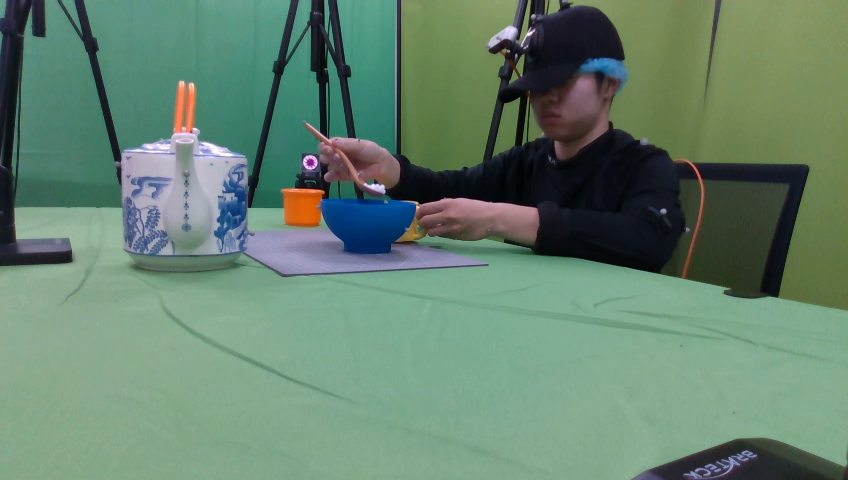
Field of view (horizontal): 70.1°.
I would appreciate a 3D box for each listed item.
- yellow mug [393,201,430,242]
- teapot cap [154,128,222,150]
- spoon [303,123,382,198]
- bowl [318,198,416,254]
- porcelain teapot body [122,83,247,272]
[{"bbox_3d":[-0.046,-0.034,1.073,0.130,0.064,0.100,5,10,29],"label":"yellow mug"},{"bbox_3d":[-0.294,-0.117,0.754,0.085,0.044,0.085,4,9,0],"label":"teapot cap"},{"bbox_3d":[-0.138,-0.133,1.002,0.193,0.021,0.042,49,12,17],"label":"spoon"},{"bbox_3d":[-0.089,-0.022,0.941,0.151,0.077,0.151,2,7,0],"label":"bowl"},{"bbox_3d":[-0.286,-0.075,0.733,0.146,0.225,0.204,0,8,-24],"label":"porcelain teapot body"}]
